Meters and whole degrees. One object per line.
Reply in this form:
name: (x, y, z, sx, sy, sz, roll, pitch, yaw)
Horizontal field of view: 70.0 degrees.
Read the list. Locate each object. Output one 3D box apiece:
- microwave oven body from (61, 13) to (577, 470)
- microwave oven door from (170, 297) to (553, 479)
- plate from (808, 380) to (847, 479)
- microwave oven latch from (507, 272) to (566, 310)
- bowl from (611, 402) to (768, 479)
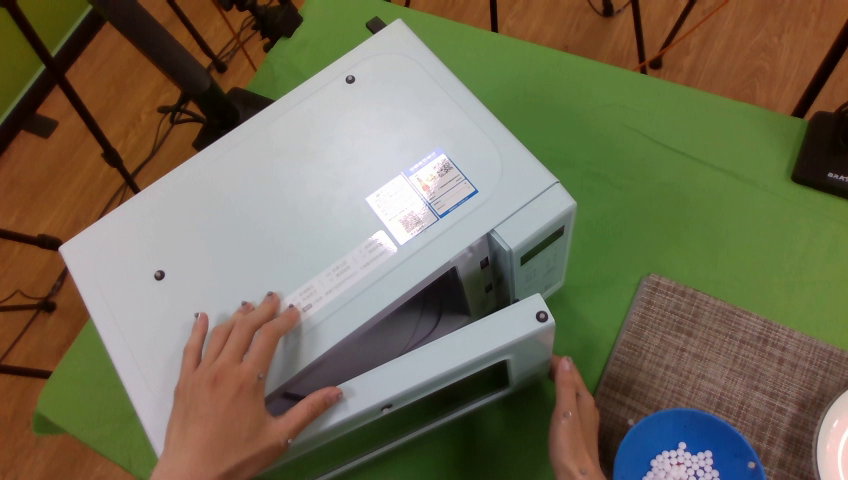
microwave oven body: (-0.103, 0.019, 0.705, 0.441, 0.262, 0.323, -37, 67, -6)
microwave oven door: (-0.035, 0.175, 0.623, 0.356, 0.246, 0.039, -24, 64, -1)
plate: (0.512, 0.239, 0.633, 0.207, 0.039, 0.206, -3, 67, 8)
microwave oven latch: (0.140, 0.057, 0.755, 0.079, 0.030, 0.030, -35, 67, -5)
bowl: (0.272, 0.254, 0.644, 0.151, 0.077, 0.150, -3, 66, 8)
